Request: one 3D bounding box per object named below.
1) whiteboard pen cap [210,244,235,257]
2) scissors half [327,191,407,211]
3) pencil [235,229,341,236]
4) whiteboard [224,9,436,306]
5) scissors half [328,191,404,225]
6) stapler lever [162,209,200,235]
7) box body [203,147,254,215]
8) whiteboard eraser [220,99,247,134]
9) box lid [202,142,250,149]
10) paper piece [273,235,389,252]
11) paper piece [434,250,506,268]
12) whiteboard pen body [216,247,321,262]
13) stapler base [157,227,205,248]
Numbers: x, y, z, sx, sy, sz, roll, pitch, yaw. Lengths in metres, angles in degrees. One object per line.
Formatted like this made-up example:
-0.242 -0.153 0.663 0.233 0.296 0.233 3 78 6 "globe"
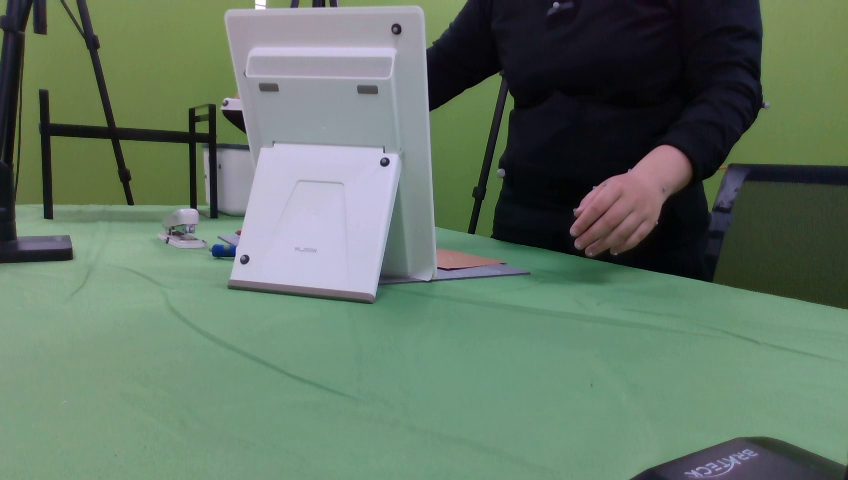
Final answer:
-0.266 0.014 0.806 0.033 0.018 0.018 2 7 -1 "whiteboard pen cap"
-0.123 -0.092 1.318 0.175 0.040 0.013 6 11 -3 "scissors half"
-0.232 -0.012 1.053 0.195 0.012 0.012 0 8 -36 "pencil"
-0.117 -0.065 0.617 0.217 0.305 0.144 5 29 16 "whiteboard"
-0.127 -0.072 1.321 0.175 0.040 0.013 22 5 -5 "scissors half"
-0.376 -0.031 0.933 0.027 0.040 0.117 1 7 -38 "stapler lever"
-0.347 -0.152 1.519 0.366 0.160 0.253 -2 9 -31 "box body"
-0.278 -0.192 0.994 0.055 0.042 0.113 11 -10 24 "whiteboard eraser"
-0.345 -0.225 1.509 0.373 0.015 0.262 -2 8 -31 "box lid"
-0.151 0.003 0.978 0.135 0.008 0.139 13 10 35 "paper piece"
0.026 0.026 0.865 0.134 0.004 0.136 9 8 42 "paper piece"
-0.208 0.018 0.805 0.141 0.017 0.017 2 7 2 "whiteboard pen body"
-0.376 -0.007 0.935 0.041 0.024 0.130 1 5 -38 "stapler base"
